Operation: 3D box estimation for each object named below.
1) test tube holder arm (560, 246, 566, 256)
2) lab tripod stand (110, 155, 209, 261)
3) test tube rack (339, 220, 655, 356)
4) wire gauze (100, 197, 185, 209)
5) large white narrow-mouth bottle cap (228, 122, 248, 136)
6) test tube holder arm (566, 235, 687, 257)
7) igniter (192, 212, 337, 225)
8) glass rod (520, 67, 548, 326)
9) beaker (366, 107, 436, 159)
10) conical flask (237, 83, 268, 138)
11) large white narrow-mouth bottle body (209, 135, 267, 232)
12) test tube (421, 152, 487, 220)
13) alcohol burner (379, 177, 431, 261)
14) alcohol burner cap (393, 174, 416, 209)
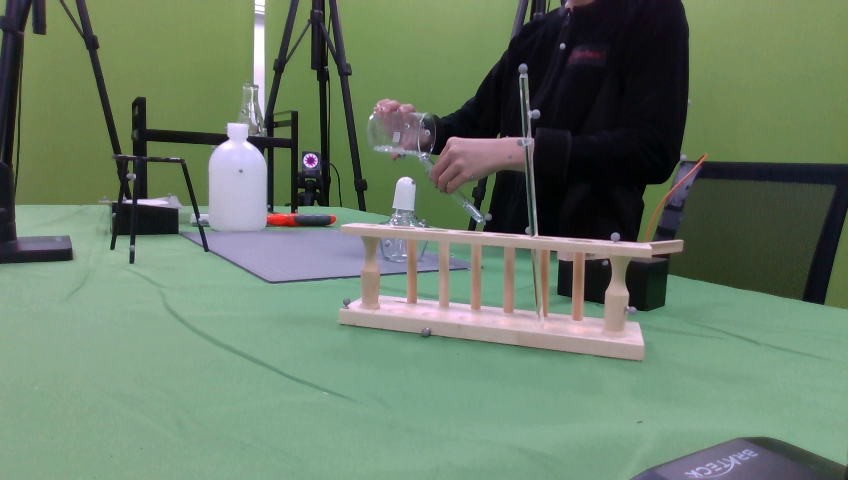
[{"bbox_3d":[0.173,0.007,0.611,0.088,0.015,0.010,-3,9,-30],"label":"test tube holder arm"},{"bbox_3d":[-0.361,-0.046,0.806,0.148,0.131,0.148,2,5,0],"label":"lab tripod stand"},{"bbox_3d":[0.056,0.032,0.495,0.242,0.085,0.067,4,7,15],"label":"test tube rack"},{"bbox_3d":[-0.469,-0.062,1.008,0.126,0.011,0.121,-2,8,-25],"label":"wire gauze"},{"bbox_3d":[-0.338,-0.200,1.097,0.038,0.024,0.037,2,8,0],"label":"large white narrow-mouth bottle cap"},{"bbox_3d":[0.215,0.006,0.630,0.179,0.015,0.013,-3,9,-31],"label":"test tube holder arm"},{"bbox_3d":[-0.311,-0.043,1.203,0.278,0.025,0.057,-1,-5,-25],"label":"igniter"},{"bbox_3d":[0.084,-0.029,0.458,0.008,0.199,0.008,-6,11,2],"label":"glass rod"},{"bbox_3d":[-0.039,-0.180,1.005,0.100,0.084,0.074,9,10,22],"label":"beaker"},{"bbox_3d":[-0.402,-0.299,1.406,0.075,0.122,0.075,2,7,0],"label":"conical flask"},{"bbox_3d":[-0.340,-0.115,1.109,0.102,0.194,0.102,2,8,0],"label":"large white narrow-mouth bottle body"},{"bbox_3d":[0.048,-0.087,0.969,0.150,0.017,0.017,48,27,18],"label":"test tube"},{"bbox_3d":[-0.027,-0.031,0.838,0.078,0.119,0.078,0,6,0],"label":"alcohol burner"},{"bbox_3d":[-0.025,-0.067,0.834,0.034,0.048,0.034,8,7,-1],"label":"alcohol burner cap"}]
